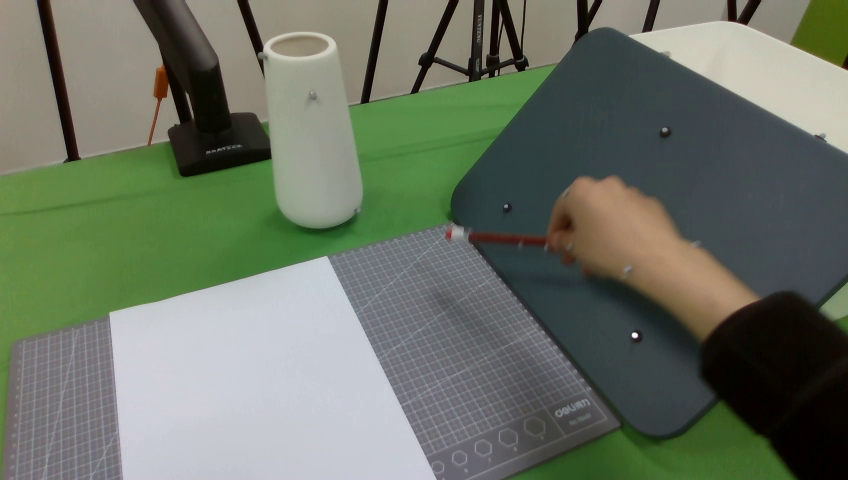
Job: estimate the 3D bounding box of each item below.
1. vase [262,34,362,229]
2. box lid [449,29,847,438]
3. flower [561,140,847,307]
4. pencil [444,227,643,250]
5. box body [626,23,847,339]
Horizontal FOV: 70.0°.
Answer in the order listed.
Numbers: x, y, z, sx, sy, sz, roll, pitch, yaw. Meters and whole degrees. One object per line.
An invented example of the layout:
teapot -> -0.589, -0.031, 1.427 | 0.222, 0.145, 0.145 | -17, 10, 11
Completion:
vase -> -0.121, -0.110, 0.647 | 0.098, 0.202, 0.097 | -1, 39, 1
box lid -> 0.184, -0.033, 0.563 | 0.015, 0.263, 0.367 | 28, 18, -43
flower -> 0.309, -0.023, 0.688 | 0.358, 0.038, 0.044 | 36, 15, 28
pencil -> 0.096, -0.001, 0.533 | 0.193, 0.012, 0.012 | 5, 35, 38
box body -> 0.342, -0.084, 0.653 | 0.255, 0.162, 0.359 | -16, 42, -19
